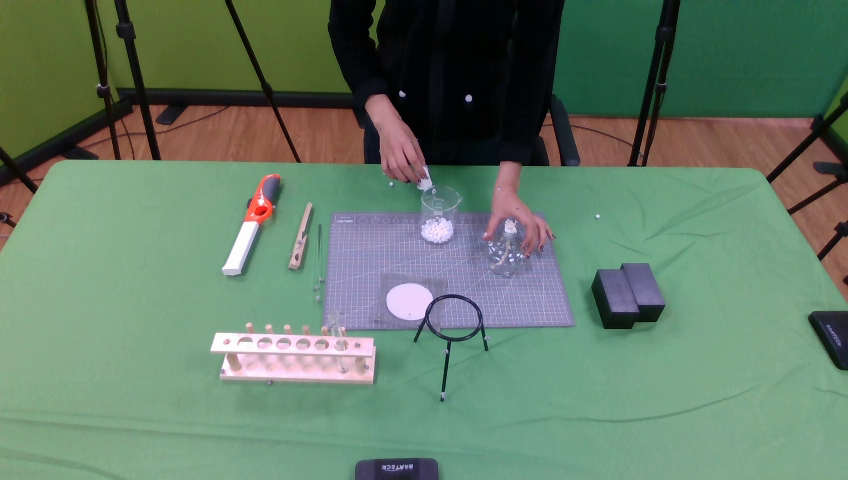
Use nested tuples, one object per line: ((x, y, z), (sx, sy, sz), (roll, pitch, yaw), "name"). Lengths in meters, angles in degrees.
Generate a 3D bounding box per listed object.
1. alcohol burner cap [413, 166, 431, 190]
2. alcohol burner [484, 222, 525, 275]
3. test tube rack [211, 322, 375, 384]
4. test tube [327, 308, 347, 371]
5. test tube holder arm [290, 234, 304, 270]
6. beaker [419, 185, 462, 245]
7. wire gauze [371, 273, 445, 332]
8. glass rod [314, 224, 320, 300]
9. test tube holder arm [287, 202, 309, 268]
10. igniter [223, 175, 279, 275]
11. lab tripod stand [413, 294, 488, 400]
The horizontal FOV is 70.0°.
((-0.007, -0.127, 1.218), (0.034, 0.048, 0.033), (-10, 45, 10), "alcohol burner cap")
((0.154, 0.009, 1.136), (0.078, 0.119, 0.077), (4, 46, -4), "alcohol burner")
((-0.203, 0.176, 0.969), (0.242, 0.085, 0.066), (3, 46, -2), "test tube rack")
((-0.132, 0.155, 0.926), (0.017, 0.151, 0.017), (0, 45, 0), "test tube")
((-0.243, 0.021, 1.164), (0.010, 0.015, 0.087), (29, 39, -26), "test tube holder arm")
((0.029, -0.047, 1.191), (0.084, 0.101, 0.073), (-5, 47, -10), "beaker")
((-0.028, 0.108, 1.100), (0.125, 0.011, 0.121), (7, 45, 4), "wire gauze")
((-0.204, 0.038, 1.156), (0.008, 0.008, 0.198), (-2, 44, -6), "glass rod")
((-0.247, -0.013, 1.193), (0.013, 0.015, 0.177), (29, 39, -26), "test tube holder arm")
((-0.341, -0.039, 1.206), (0.057, 0.025, 0.275), (-1, 45, 9), "igniter")
((0.044, 0.159, 0.972), (0.148, 0.132, 0.147), (2, 44, -2), "lab tripod stand")
